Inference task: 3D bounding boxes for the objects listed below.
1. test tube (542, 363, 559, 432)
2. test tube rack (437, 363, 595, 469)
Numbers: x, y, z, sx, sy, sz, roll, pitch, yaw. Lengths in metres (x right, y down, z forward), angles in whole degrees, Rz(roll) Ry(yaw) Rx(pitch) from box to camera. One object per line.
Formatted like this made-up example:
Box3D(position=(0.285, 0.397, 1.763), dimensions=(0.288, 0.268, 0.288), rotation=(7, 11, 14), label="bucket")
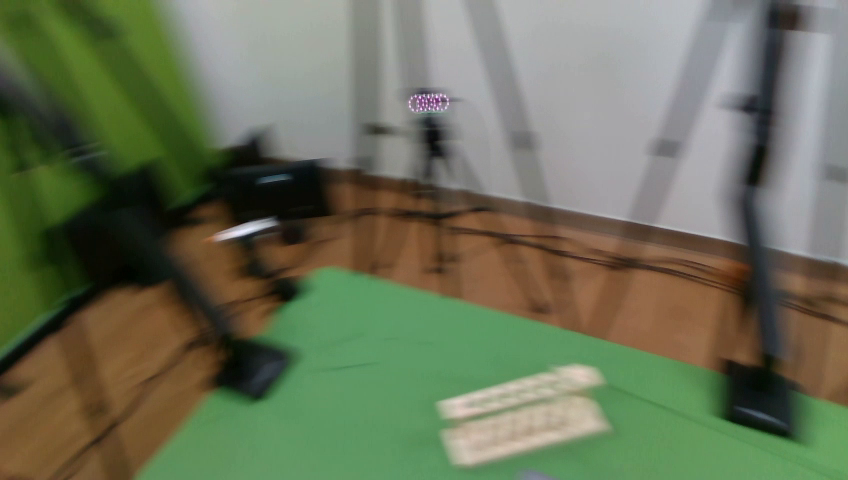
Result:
Box3D(position=(0.191, 0.239, 0.916), dimensions=(0.017, 0.151, 0.017), rotation=(-2, 37, 2), label="test tube")
Box3D(position=(0.146, 0.274, 0.949), dimensions=(0.243, 0.086, 0.066), rotation=(-12, 39, -11), label="test tube rack")
